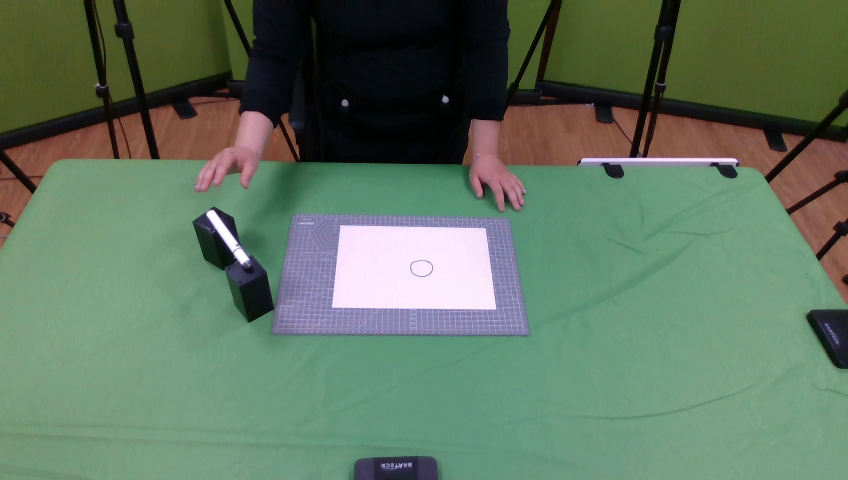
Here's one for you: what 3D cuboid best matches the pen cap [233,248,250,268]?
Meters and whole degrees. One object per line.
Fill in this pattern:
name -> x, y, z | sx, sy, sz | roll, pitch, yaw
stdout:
pen cap -> -0.303, 0.031, 1.008 | 0.017, 0.017, 0.038 | -28, 55, -28

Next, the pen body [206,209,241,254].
pen body -> -0.340, -0.006, 1.042 | 0.017, 0.017, 0.143 | -26, 53, -27
